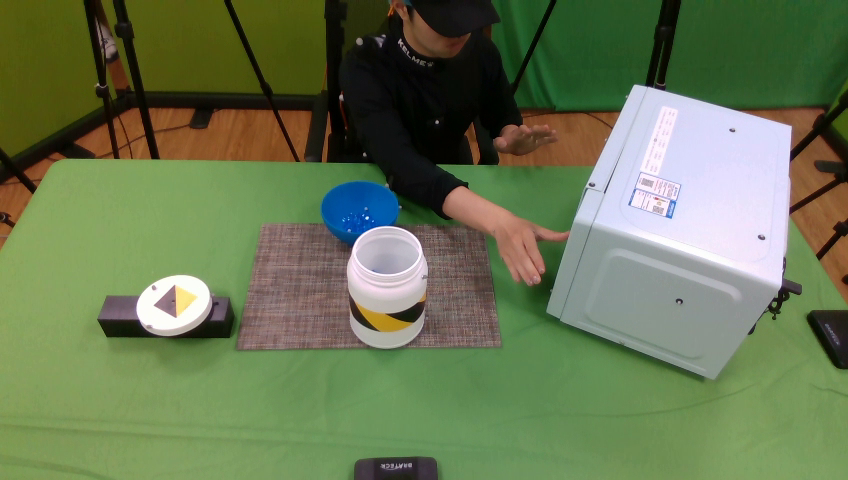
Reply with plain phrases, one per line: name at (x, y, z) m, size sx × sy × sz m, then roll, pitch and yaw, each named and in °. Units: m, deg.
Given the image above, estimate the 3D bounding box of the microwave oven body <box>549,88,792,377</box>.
microwave oven body at (0.456, -0.028, 1.088) m, size 0.325 × 0.261 × 0.440 m, roll 20°, pitch 47°, yaw 16°

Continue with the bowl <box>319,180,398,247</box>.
bowl at (-0.126, -0.039, 1.180) m, size 0.151 × 0.077 × 0.150 m, roll 2°, pitch 46°, yaw -2°

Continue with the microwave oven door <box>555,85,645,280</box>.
microwave oven door at (0.339, -0.108, 1.149) m, size 0.039 × 0.245 × 0.354 m, roll 21°, pitch 48°, yaw 16°

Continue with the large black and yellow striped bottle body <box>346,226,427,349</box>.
large black and yellow striped bottle body at (-0.062, 0.079, 0.998) m, size 0.131 × 0.185 × 0.130 m, roll 2°, pitch 46°, yaw -2°

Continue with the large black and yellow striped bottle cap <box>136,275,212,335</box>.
large black and yellow striped bottle cap at (-0.411, 0.105, 0.999) m, size 0.115 × 0.019 × 0.114 m, roll 3°, pitch 46°, yaw -3°

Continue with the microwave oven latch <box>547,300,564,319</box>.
microwave oven latch at (0.242, 0.102, 1.081) m, size 0.030 × 0.029 × 0.079 m, roll 21°, pitch 48°, yaw 17°
